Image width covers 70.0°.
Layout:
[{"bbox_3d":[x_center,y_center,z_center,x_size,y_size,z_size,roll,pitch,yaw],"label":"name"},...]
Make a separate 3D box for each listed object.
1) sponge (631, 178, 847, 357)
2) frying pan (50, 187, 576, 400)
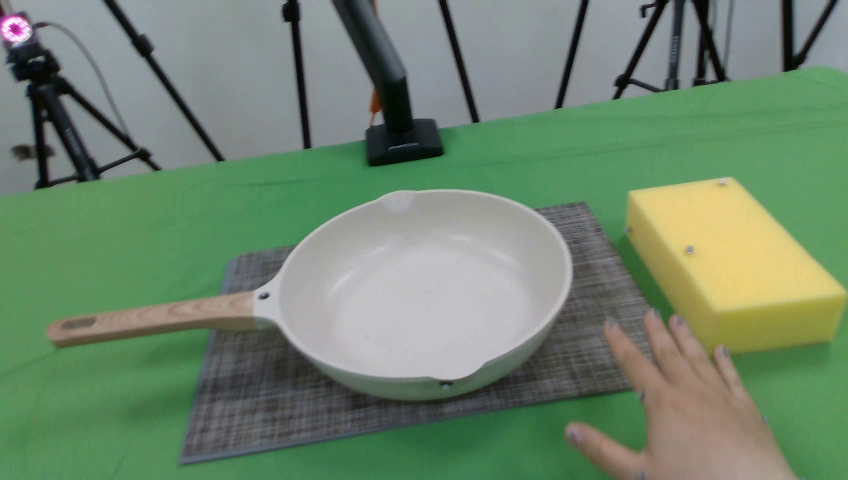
[{"bbox_3d":[0.304,0.018,0.612,0.118,0.061,0.204,-8,35,0],"label":"sponge"},{"bbox_3d":[-0.099,0.056,0.595,0.489,0.103,0.303,-5,34,-9],"label":"frying pan"}]
